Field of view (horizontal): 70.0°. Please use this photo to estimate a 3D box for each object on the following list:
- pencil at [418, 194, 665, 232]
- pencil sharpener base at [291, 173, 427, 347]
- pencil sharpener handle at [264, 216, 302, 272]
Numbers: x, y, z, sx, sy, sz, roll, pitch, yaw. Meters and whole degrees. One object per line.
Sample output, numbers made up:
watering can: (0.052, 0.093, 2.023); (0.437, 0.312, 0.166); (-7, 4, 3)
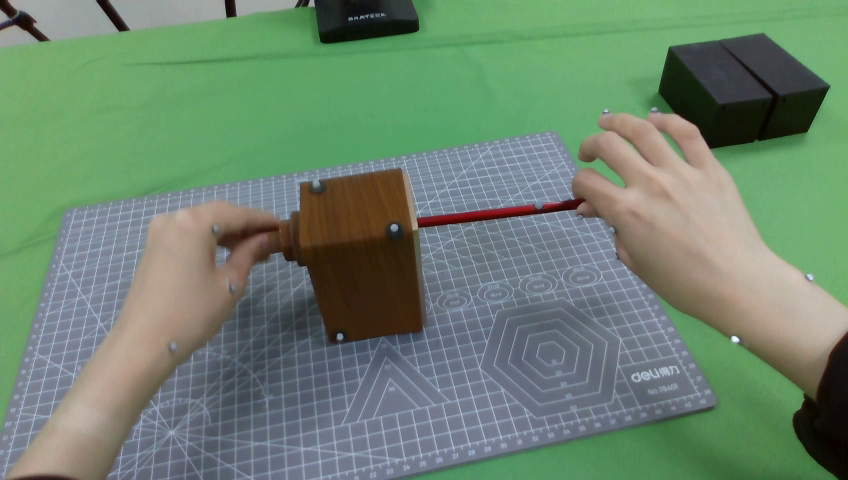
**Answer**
pencil: (0.065, -0.016, 0.398); (0.194, 0.012, 0.012); (-6, 46, -6)
pencil sharpener base: (-0.041, 0.017, 0.405); (0.077, 0.108, 0.060); (-8, 47, -4)
pencil sharpener handle: (-0.094, 0.004, 0.397); (0.031, 0.036, 0.067); (-8, 2, -3)
